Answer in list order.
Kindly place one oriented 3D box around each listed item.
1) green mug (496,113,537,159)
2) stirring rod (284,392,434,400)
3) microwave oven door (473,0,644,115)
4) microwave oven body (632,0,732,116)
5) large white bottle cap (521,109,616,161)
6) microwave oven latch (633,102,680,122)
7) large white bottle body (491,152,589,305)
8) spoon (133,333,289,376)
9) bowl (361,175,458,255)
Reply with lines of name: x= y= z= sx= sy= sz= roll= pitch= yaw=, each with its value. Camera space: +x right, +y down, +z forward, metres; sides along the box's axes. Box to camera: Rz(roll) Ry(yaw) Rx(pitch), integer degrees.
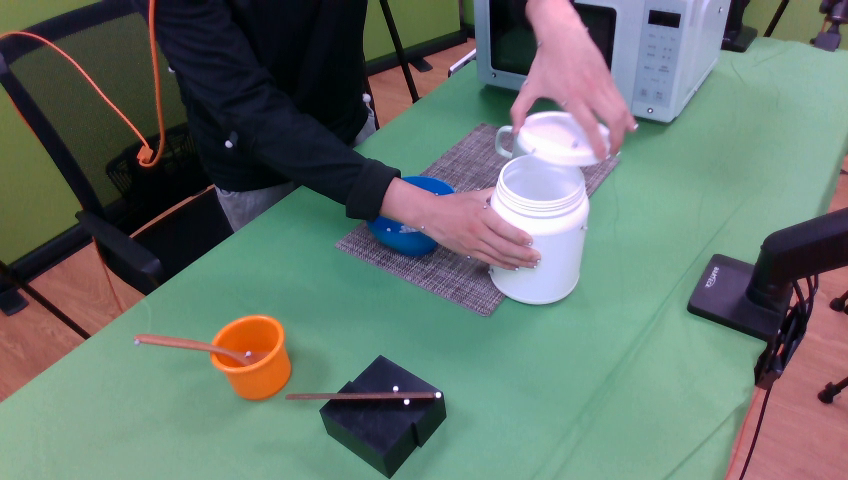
green mug: x=0.185 y=-0.161 z=1.061 sx=0.124 sy=0.105 sz=0.092 roll=15 pitch=46 yaw=25
stirring rod: x=-0.076 y=0.180 z=0.697 sx=0.176 sy=0.006 sz=0.014 roll=-2 pitch=6 yaw=6
microwave oven door: x=0.257 y=-0.396 z=1.199 sx=0.353 sy=0.245 sz=0.039 roll=21 pitch=48 yaw=29
microwave oven body: x=0.377 y=-0.462 z=1.267 sx=0.438 sy=0.261 sz=0.327 roll=21 pitch=48 yaw=30
large white bottle cap: x=0.178 y=-0.131 z=0.749 sx=0.115 sy=0.018 sz=0.114 roll=3 pitch=36 yaw=-2
microwave oven latch: x=0.444 y=-0.249 z=1.157 sx=0.078 sy=0.029 sz=0.030 roll=21 pitch=49 yaw=30
large white bottle body: x=0.157 y=-0.015 z=0.834 sx=0.130 sy=0.185 sz=0.130 roll=-3 pitch=43 yaw=3
spoon: x=-0.257 y=0.137 z=0.747 sx=0.195 sy=0.021 sz=0.041 roll=25 pitch=26 yaw=-36
bowl: x=-0.018 y=-0.029 z=0.955 sx=0.151 sy=0.077 sz=0.150 roll=-4 pitch=40 yaw=4
